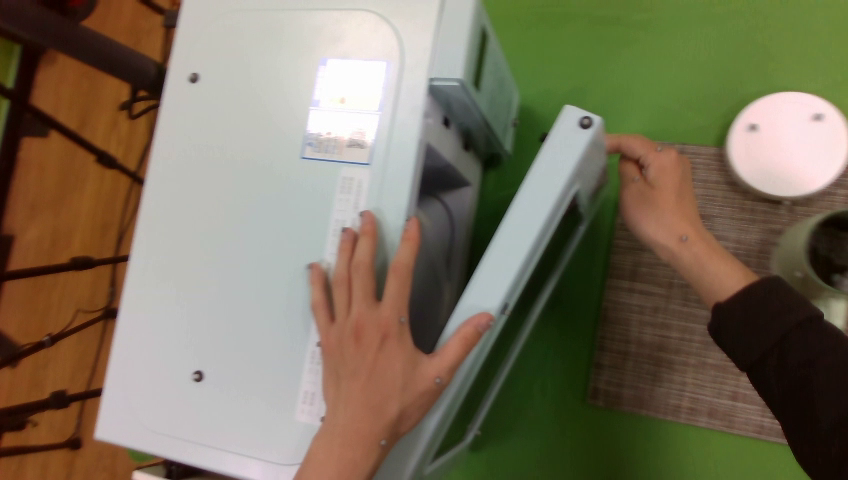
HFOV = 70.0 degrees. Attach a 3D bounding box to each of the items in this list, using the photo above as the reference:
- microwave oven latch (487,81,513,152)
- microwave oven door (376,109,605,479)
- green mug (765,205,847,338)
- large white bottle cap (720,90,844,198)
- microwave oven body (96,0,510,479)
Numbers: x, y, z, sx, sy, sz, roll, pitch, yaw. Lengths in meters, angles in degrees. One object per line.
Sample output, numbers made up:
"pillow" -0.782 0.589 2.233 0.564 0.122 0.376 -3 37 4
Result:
"microwave oven latch" 0.087 -0.145 0.710 0.030 0.029 0.079 7 86 18
"microwave oven door" 0.073 0.073 0.579 0.039 0.245 0.355 28 92 20
"green mug" 0.382 0.031 0.574 0.092 0.105 0.125 7 85 18
"large white bottle cap" 0.375 -0.101 0.637 0.114 0.018 0.114 -4 78 17
"microwave oven body" -0.109 -0.001 0.651 0.325 0.261 0.441 7 86 18
